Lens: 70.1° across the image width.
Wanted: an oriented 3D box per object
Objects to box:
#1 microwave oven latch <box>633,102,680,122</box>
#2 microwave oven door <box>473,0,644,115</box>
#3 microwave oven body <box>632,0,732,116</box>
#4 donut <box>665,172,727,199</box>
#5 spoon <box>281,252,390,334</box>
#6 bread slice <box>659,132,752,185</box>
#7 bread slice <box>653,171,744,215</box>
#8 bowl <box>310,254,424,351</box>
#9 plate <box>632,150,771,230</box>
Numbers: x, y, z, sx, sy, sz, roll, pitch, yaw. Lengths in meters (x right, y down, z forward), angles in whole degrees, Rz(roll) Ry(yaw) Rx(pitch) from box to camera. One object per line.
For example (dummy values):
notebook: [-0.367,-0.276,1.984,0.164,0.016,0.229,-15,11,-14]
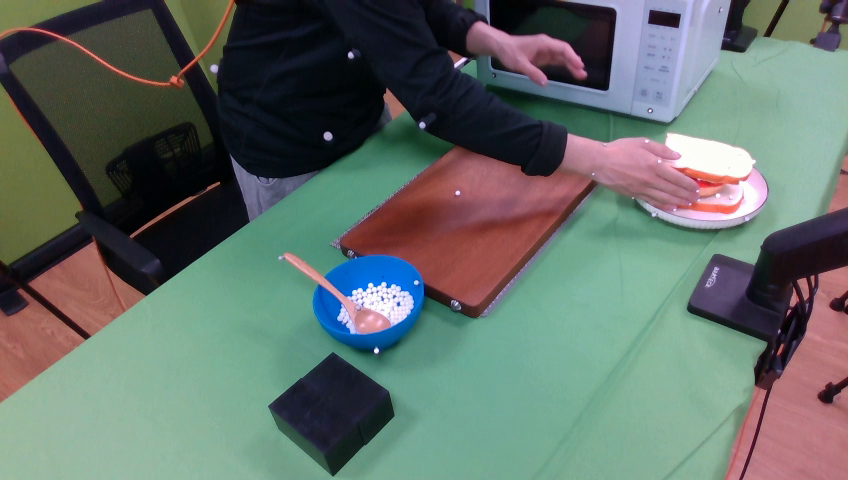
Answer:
microwave oven latch: [0.444,-0.249,1.157,0.078,0.029,0.030,22,49,30]
microwave oven door: [0.257,-0.396,1.199,0.353,0.245,0.039,21,48,29]
microwave oven body: [0.377,-0.463,1.267,0.438,0.261,0.327,21,49,30]
donut: [0.439,-0.105,0.972,0.099,0.048,0.098,-8,42,8]
spoon: [-0.122,0.070,0.812,0.193,0.022,0.042,38,61,16]
bread slice: [0.443,-0.126,0.951,0.134,0.018,0.107,14,43,14]
bread slice: [0.452,-0.084,0.992,0.131,0.019,0.105,11,45,21]
bowl: [-0.072,0.097,0.821,0.151,0.077,0.150,-4,40,4]
plate: [0.447,-0.081,0.988,0.207,0.039,0.206,-4,40,4]
